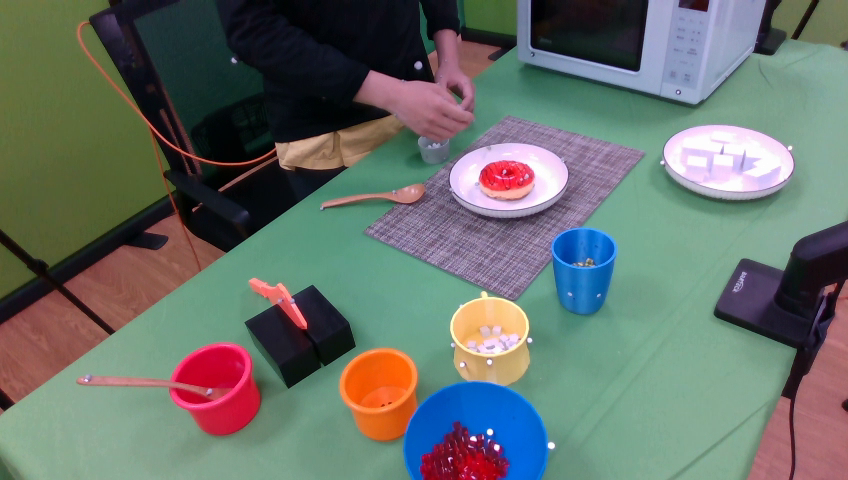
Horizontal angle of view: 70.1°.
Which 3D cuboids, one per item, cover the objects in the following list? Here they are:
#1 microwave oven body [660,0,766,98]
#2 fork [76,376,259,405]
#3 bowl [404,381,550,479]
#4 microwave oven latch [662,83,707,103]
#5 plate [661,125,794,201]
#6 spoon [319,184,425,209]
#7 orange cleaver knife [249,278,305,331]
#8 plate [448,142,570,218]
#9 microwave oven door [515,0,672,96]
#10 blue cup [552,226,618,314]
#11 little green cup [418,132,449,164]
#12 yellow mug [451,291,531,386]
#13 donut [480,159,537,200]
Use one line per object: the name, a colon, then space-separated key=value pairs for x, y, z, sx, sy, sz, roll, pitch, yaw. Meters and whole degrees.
microwave oven body: x=0.473 y=-0.513 z=1.317 sx=0.438 sy=0.261 sz=0.327 roll=26 pitch=51 yaw=34
fork: x=-0.295 y=0.176 z=0.716 sx=0.209 sy=0.018 sz=0.028 roll=19 pitch=26 yaw=-36
bowl: x=0.058 y=0.235 z=0.645 sx=0.151 sy=0.077 sz=0.150 roll=-4 pitch=39 yaw=4
microwave oven latch: x=0.517 y=-0.296 z=1.204 sx=0.078 sy=0.029 sz=0.030 roll=27 pitch=52 yaw=35
plate: x=0.513 y=-0.128 z=1.035 sx=0.207 sy=0.039 sz=0.206 roll=-4 pitch=40 yaw=4
spoon: x=-0.094 y=-0.076 z=1.074 sx=0.193 sy=0.022 sz=0.041 roll=-5 pitch=57 yaw=5
orange cleaver knife: x=-0.210 y=0.088 z=0.856 sx=0.012 sy=0.077 sz=0.210 roll=-28 pitch=15 yaw=-25
plate: x=0.148 y=-0.101 z=1.053 sx=0.209 sy=0.038 sz=0.208 roll=-4 pitch=40 yaw=4
microwave oven door: x=0.344 y=-0.455 z=1.259 sx=0.353 sy=0.245 sz=0.039 roll=26 pitch=51 yaw=33
blue cup: x=0.218 y=0.047 z=0.826 sx=0.092 sy=0.100 sz=0.092 roll=-6 pitch=40 yaw=5
little green cup: x=0.019 y=-0.178 z=1.168 sx=0.061 sy=0.039 sz=0.061 roll=-3 pitch=41 yaw=3
yellow mug: x=0.085 y=0.120 z=0.786 sx=0.100 sy=0.064 sz=0.130 roll=-7 pitch=39 yaw=1
donut: x=0.145 y=-0.106 z=1.042 sx=0.099 sy=0.048 sz=0.098 roll=-4 pitch=38 yaw=4
